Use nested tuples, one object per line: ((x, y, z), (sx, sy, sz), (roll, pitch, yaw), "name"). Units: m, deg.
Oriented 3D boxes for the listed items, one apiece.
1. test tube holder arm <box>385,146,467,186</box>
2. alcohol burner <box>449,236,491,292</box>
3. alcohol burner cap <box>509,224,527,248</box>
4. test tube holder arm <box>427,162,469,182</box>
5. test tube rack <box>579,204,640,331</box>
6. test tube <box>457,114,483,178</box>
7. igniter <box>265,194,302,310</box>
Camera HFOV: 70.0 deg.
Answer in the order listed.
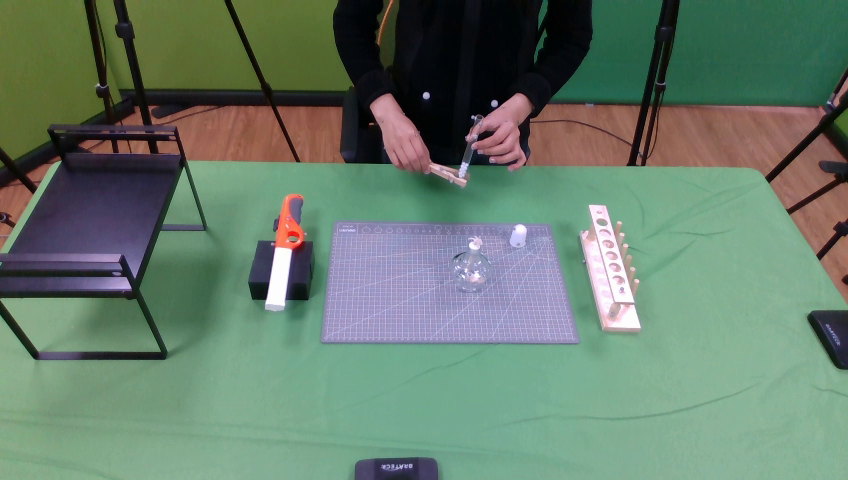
((0.002, -0.149, 1.207), (0.178, 0.015, 0.013), (23, 46, 10), "test tube holder arm")
((0.086, 0.038, 1.101), (0.078, 0.119, 0.077), (3, 44, -2), "alcohol burner")
((0.189, -0.011, 1.206), (0.034, 0.048, 0.033), (2, 46, -1), "alcohol burner cap")
((0.045, -0.136, 1.205), (0.088, 0.015, 0.010), (17, 46, 3), "test tube holder arm")
((0.353, 0.047, 1.137), (0.067, 0.085, 0.241), (2, 46, -2), "test tube rack")
((0.086, -0.173, 1.141), (0.017, 0.151, 0.017), (7, 48, -8), "test tube")
((-0.253, 0.011, 1.099), (0.057, 0.025, 0.274), (9, 46, -12), "igniter")
